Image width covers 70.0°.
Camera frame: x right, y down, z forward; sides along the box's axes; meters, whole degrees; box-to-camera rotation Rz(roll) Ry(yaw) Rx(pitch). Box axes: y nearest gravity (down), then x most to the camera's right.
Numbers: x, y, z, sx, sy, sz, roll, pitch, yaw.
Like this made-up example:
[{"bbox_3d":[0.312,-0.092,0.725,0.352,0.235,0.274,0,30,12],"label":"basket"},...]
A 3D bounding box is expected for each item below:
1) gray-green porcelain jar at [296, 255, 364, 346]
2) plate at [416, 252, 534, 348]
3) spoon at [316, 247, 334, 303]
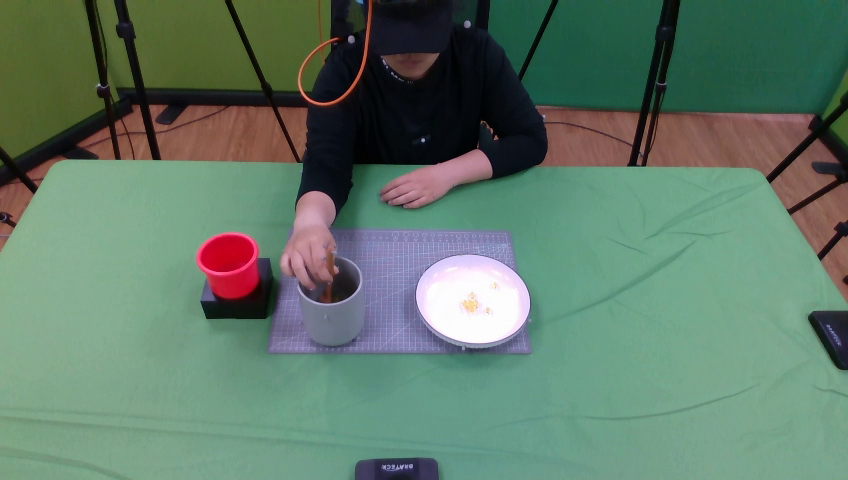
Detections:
[{"bbox_3d":[-0.153,0.106,1.008,0.106,0.127,0.105,2,46,-2],"label":"gray-green porcelain jar"},{"bbox_3d":[0.090,0.109,1.084,0.208,0.039,0.206,2,46,-2],"label":"plate"},{"bbox_3d":[-0.155,0.068,0.972,0.041,0.194,0.021,37,52,19],"label":"spoon"}]
